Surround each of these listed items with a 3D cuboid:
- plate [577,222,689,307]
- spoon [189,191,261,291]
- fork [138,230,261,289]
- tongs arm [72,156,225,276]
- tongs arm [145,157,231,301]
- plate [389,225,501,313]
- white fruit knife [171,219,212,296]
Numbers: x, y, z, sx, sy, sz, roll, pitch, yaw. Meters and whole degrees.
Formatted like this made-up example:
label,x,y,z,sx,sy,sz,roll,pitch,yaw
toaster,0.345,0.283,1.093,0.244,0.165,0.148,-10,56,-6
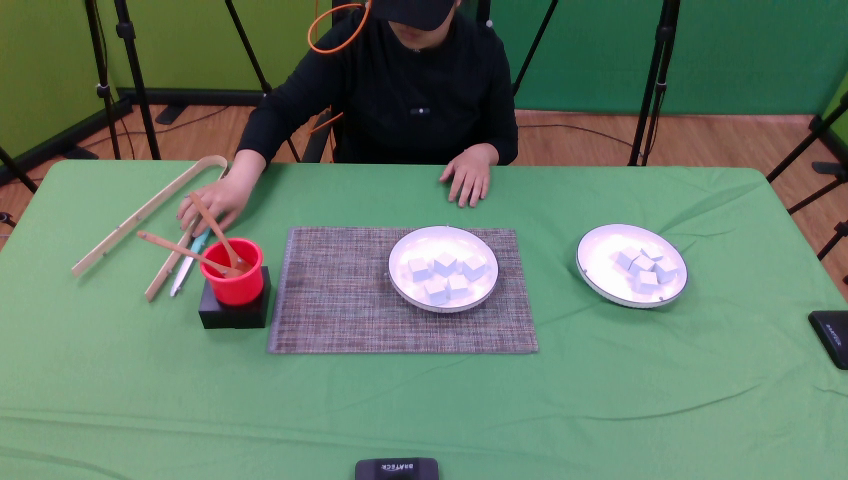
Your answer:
label,x,y,z,sx,sy,sz,roll,pitch,yaw
plate,0.396,0.050,1.165,0.209,0.038,0.208,2,47,-2
spoon,-0.333,0.001,1.012,0.041,0.194,0.021,-34,15,-25
fork,-0.360,0.032,0.981,0.208,0.018,0.028,31,60,-30
tongs arm,-0.531,-0.058,1.205,0.050,0.026,0.383,19,47,13
tongs arm,-0.454,-0.035,1.194,0.028,0.028,0.385,7,46,6
plate,0.038,0.057,1.129,0.208,0.039,0.206,2,46,-2
white fruit knife,-0.436,0.025,1.148,0.027,0.016,0.206,-15,43,22
